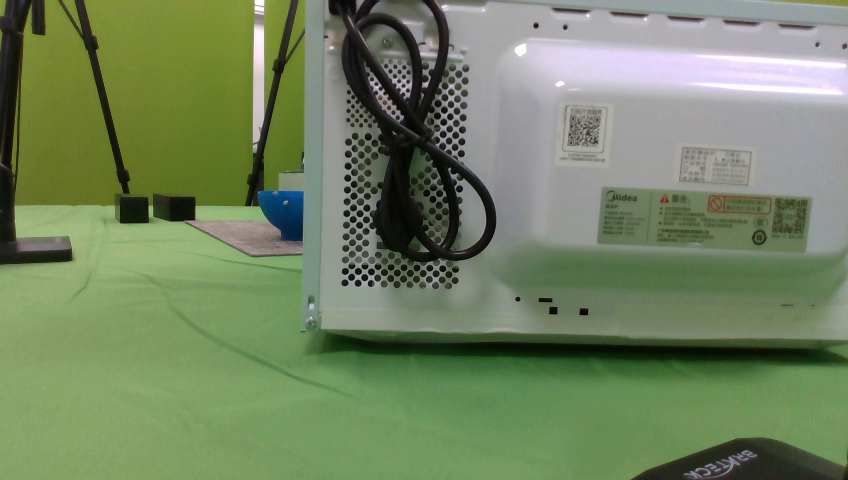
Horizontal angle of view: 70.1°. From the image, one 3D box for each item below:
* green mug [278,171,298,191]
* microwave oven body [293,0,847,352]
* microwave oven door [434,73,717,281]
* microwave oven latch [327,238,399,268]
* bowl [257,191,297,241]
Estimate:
[{"bbox_3d":[-0.248,-0.092,1.274,0.092,0.105,0.126,8,14,42],"label":"green mug"},{"bbox_3d":[0.122,-0.055,0.550,0.442,0.260,0.325,3,7,-5],"label":"microwave oven body"},{"bbox_3d":[0.179,-0.089,0.794,0.354,0.243,0.039,7,7,30],"label":"microwave oven door"},{"bbox_3d":[-0.069,0.015,0.694,0.079,0.029,0.030,3,7,-3],"label":"microwave oven latch"},{"bbox_3d":[-0.206,-0.041,1.027,0.151,0.077,0.151,3,8,0],"label":"bowl"}]
